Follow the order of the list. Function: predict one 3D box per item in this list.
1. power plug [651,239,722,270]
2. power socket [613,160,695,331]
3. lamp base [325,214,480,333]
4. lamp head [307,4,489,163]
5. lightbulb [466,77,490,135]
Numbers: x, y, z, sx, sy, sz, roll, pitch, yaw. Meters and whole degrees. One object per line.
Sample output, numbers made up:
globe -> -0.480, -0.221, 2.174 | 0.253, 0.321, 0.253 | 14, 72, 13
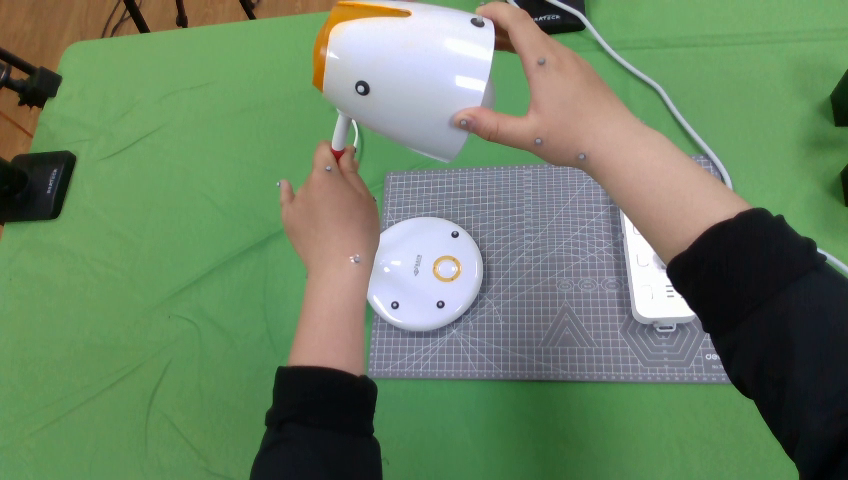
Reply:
power plug -> 0.307, 0.020, 0.715 | 0.072, 0.053, 0.035 | 8, 70, 11
power socket -> 0.282, -0.001, 0.750 | 0.072, 0.033, 0.225 | -3, 66, 9
lamp base -> -0.034, 0.014, 0.726 | 0.179, 0.182, 0.159 | -7, 65, 12
lamp head -> -0.026, -0.123, 0.457 | 0.123, 0.113, 0.111 | 10, 67, -10
lightbulb -> -0.002, -0.116, 0.455 | 0.108, 0.059, 0.059 | 21, 70, -11
